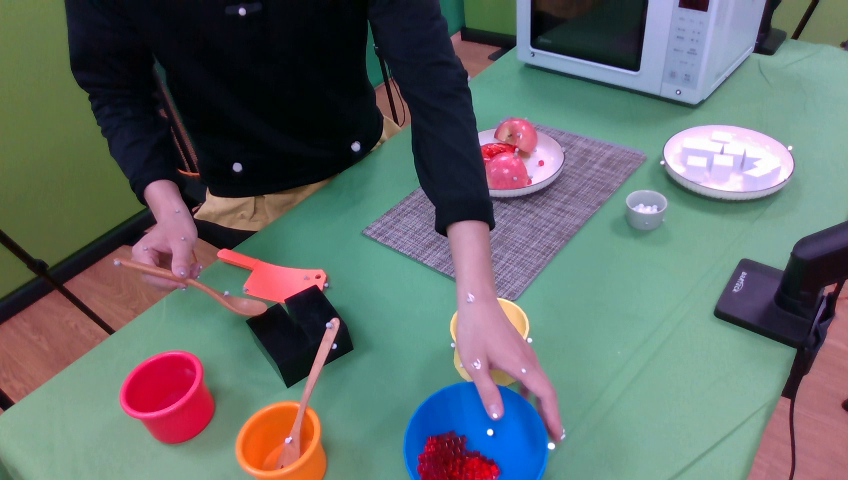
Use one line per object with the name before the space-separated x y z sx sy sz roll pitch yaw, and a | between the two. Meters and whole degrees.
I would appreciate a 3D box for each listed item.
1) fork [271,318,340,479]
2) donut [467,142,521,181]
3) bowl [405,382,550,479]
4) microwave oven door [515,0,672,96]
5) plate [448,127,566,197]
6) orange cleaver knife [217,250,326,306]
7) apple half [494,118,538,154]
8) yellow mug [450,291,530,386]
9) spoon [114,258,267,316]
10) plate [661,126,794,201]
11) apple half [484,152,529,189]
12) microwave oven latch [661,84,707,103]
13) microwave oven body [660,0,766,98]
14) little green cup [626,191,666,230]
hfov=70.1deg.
fork | -0.132 0.186 0.676 0.028 0.019 0.207 17 90 27
donut | 0.126 -0.144 1.090 0.099 0.048 0.098 -5 37 4
bowl | 0.059 0.236 0.645 0.151 0.077 0.150 -5 39 4
microwave oven door | 0.343 -0.454 1.259 0.353 0.245 0.039 26 51 33
plate | 0.150 -0.138 1.096 0.209 0.038 0.208 -4 40 4
orange cleaver knife | -0.248 0.058 0.945 0.210 0.012 0.077 12 48 20
apple half | 0.175 -0.196 1.113 0.080 0.053 0.075 28 12 34
yellow mug | 0.085 0.120 0.786 0.100 0.064 0.130 -7 39 1
spoon | -0.289 0.058 0.763 0.021 0.195 0.041 -53 32 12
plate | 0.513 -0.127 1.035 0.207 0.039 0.206 -4 40 4
apple half | 0.144 -0.116 1.032 0.081 0.033 0.081 2 77 -10
microwave oven latch | 0.517 -0.296 1.204 0.078 0.029 0.030 26 52 34
microwave oven body | 0.472 -0.513 1.317 0.438 0.261 0.327 26 51 34
little green cup | 0.352 -0.046 0.963 0.061 0.039 0.061 -4 40 4
